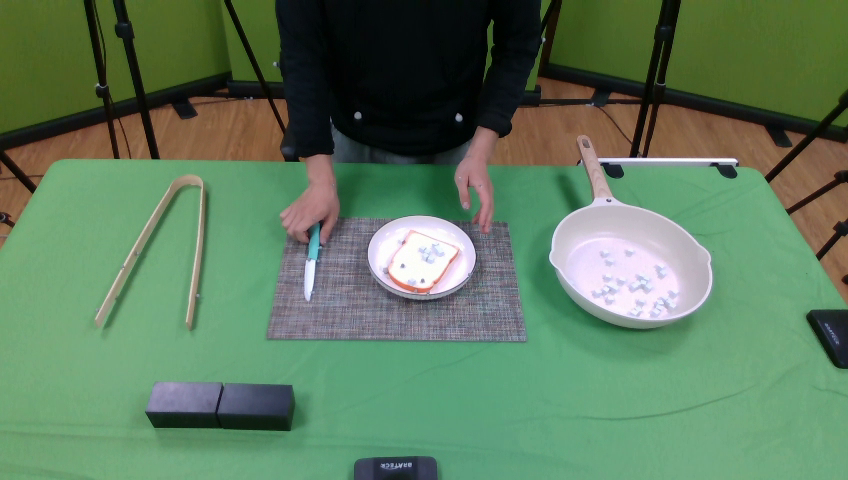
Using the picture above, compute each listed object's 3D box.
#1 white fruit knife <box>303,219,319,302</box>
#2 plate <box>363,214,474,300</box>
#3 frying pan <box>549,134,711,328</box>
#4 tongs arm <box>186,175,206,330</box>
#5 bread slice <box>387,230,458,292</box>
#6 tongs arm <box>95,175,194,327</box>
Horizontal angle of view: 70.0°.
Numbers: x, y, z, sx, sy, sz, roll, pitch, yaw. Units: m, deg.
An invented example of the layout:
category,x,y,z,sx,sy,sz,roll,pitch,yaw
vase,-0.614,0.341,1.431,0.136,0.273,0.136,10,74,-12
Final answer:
category,x,y,z,sx,sy,sz,roll,pitch,yaw
white fruit knife,-0.215,0.034,1.148,0.027,0.016,0.206,-20,46,16
plate,-0.010,0.036,1.146,0.208,0.039,0.206,2,46,-2
frying pan,0.372,-0.035,1.203,0.307,0.103,0.484,-1,55,-6
tongs arm,-0.436,0.009,1.151,0.028,0.028,0.385,-7,47,-8
bread slice,-0.007,0.043,1.142,0.107,0.018,0.134,18,46,14
tongs arm,-0.516,0.006,1.142,0.051,0.026,0.382,4,45,-2
